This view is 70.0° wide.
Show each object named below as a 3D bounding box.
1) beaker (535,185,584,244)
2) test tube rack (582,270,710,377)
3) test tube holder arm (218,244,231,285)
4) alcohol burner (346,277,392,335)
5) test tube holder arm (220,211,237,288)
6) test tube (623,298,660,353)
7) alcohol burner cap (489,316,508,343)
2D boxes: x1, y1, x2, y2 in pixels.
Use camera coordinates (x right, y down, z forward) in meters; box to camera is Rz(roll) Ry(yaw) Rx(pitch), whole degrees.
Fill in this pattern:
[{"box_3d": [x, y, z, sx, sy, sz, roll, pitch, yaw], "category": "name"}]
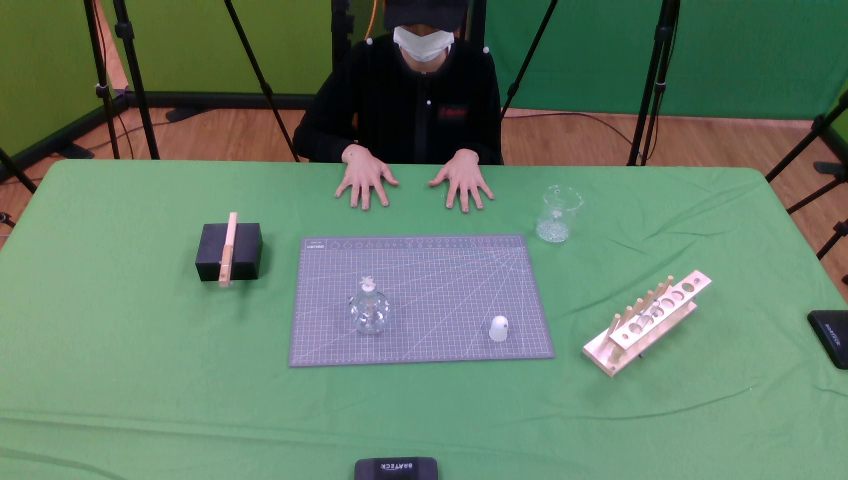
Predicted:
[{"box_3d": [0.268, -0.048, 1.213, 0.084, 0.101, 0.073, 6, 46, 0], "category": "beaker"}, {"box_3d": [0.389, 0.132, 1.057, 0.242, 0.085, 0.066, -28, 54, -28], "category": "test tube rack"}, {"box_3d": [-0.347, 0.042, 1.058, 0.015, 0.010, 0.087, -3, 46, -7], "category": "test tube holder arm"}, {"box_3d": [-0.093, 0.106, 1.021, 0.078, 0.120, 0.077, 1, 46, -1], "category": "alcohol burner"}, {"box_3d": [-0.353, 0.013, 1.093, 0.015, 0.013, 0.177, -3, 47, -7], "category": "test tube holder arm"}, {"box_3d": [0.344, 0.140, 0.976, 0.017, 0.151, 0.017, 3, 50, -4], "category": "test tube"}, {"box_3d": [0.130, 0.151, 1.045, 0.034, 0.048, 0.033, 2, 46, -2], "category": "alcohol burner cap"}]
